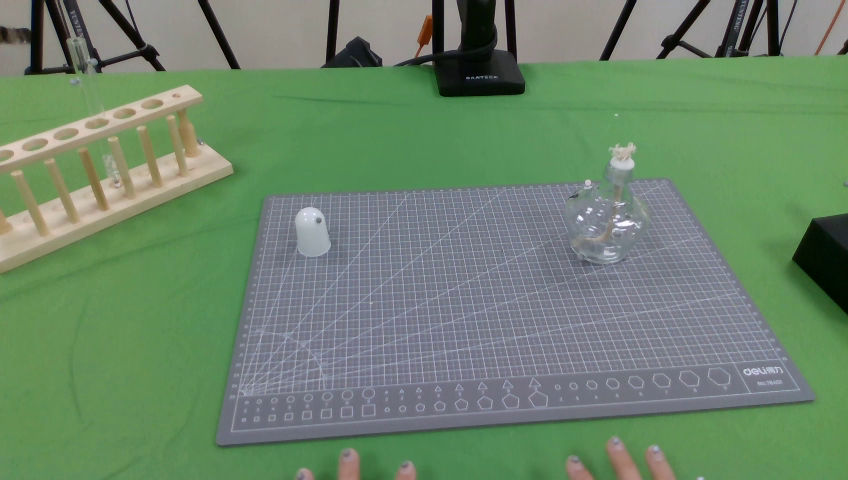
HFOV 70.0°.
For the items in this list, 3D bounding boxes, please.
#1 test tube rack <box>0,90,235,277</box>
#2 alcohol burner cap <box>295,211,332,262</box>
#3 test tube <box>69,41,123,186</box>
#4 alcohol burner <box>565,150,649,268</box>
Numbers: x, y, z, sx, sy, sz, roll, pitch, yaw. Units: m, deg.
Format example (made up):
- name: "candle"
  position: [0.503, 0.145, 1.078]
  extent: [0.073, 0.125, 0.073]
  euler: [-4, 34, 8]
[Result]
- name: "test tube rack"
  position: [-0.324, -0.065, 0.612]
  extent: [0.242, 0.086, 0.066]
  euler: [-31, 50, -32]
- name: "alcohol burner cap"
  position: [-0.106, -0.006, 0.576]
  extent: [0.034, 0.048, 0.033]
  euler: [1, 41, 0]
- name: "test tube"
  position: [-0.322, -0.120, 0.600]
  extent: [0.017, 0.151, 0.017]
  euler: [2, 35, -1]
- name: "alcohol burner"
  position: [0.171, -0.033, 0.557]
  extent: [0.078, 0.120, 0.077]
  euler: [1, 43, -1]
